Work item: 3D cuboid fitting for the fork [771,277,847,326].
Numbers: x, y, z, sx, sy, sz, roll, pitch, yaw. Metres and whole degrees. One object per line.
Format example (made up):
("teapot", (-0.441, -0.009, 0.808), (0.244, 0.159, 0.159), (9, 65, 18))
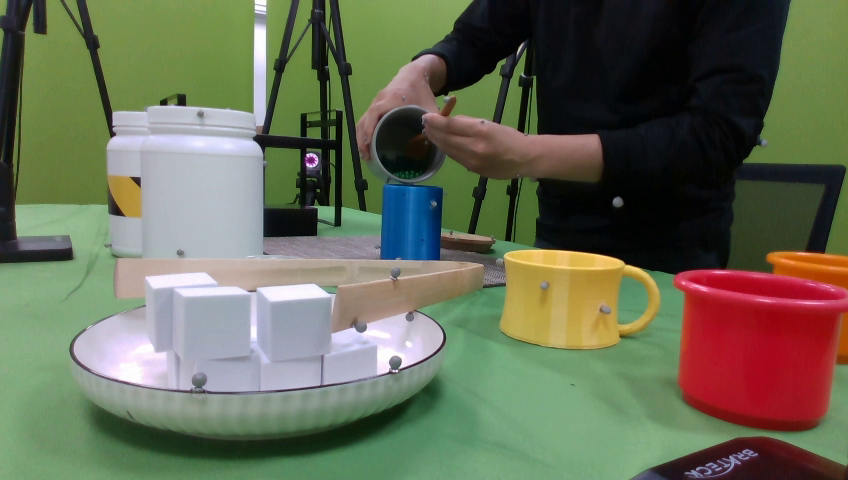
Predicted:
("fork", (0.335, 0.018, 0.443), (0.028, 0.018, 0.207), (-1, -36, -20))

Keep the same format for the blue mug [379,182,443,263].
("blue mug", (-0.019, -0.026, 0.833), (0.082, 0.106, 0.116), (1, 7, -7))

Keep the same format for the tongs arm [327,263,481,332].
("tongs arm", (-0.003, 0.036, 0.493), (0.050, 0.026, 0.386), (1, 0, 19))

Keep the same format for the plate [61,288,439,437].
("plate", (-0.095, 0.069, 0.362), (0.208, 0.039, 0.207), (3, 7, 0))

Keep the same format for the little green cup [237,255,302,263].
("little green cup", (-0.150, 0.038, 0.590), (0.061, 0.038, 0.061), (3, 7, 0))

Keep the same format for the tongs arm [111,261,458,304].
("tongs arm", (-0.080, 0.032, 0.527), (0.028, 0.027, 0.389), (-3, -3, 33))

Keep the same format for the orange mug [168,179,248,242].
("orange mug", (-0.351, -0.050, 0.986), (0.126, 0.101, 0.083), (-3, 8, -9))

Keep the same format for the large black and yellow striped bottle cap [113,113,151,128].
("large black and yellow striped bottle cap", (-0.348, -0.154, 0.800), (0.115, 0.019, 0.115), (2, 6, 0))

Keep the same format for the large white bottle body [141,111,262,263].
("large white bottle body", (-0.254, -0.053, 0.697), (0.131, 0.184, 0.130), (2, 7, 0))

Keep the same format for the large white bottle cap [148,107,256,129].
("large white bottle cap", (-0.250, -0.137, 0.686), (0.115, 0.018, 0.115), (2, 8, 0))

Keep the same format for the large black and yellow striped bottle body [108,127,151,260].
("large black and yellow striped bottle body", (-0.350, -0.071, 0.812), (0.131, 0.184, 0.130), (2, 7, 0))

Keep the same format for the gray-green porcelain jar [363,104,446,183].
("gray-green porcelain jar", (-0.033, -0.135, 0.879), (0.106, 0.105, 0.126), (0, 3, -13))

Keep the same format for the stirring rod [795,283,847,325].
("stirring rod", (0.346, 0.019, 0.460), (0.014, 0.176, 0.006), (-17, 59, -26))

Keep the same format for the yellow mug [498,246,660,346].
("yellow mug", (0.130, 0.045, 0.508), (0.131, 0.064, 0.100), (4, 7, 6))

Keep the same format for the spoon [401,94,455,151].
("spoon", (0.009, -0.156, 0.820), (0.042, 0.021, 0.193), (-2, -6, -18))

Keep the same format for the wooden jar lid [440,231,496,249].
("wooden jar lid", (0.066, 0.000, 1.011), (0.108, 0.020, 0.108), (6, 7, 0))
